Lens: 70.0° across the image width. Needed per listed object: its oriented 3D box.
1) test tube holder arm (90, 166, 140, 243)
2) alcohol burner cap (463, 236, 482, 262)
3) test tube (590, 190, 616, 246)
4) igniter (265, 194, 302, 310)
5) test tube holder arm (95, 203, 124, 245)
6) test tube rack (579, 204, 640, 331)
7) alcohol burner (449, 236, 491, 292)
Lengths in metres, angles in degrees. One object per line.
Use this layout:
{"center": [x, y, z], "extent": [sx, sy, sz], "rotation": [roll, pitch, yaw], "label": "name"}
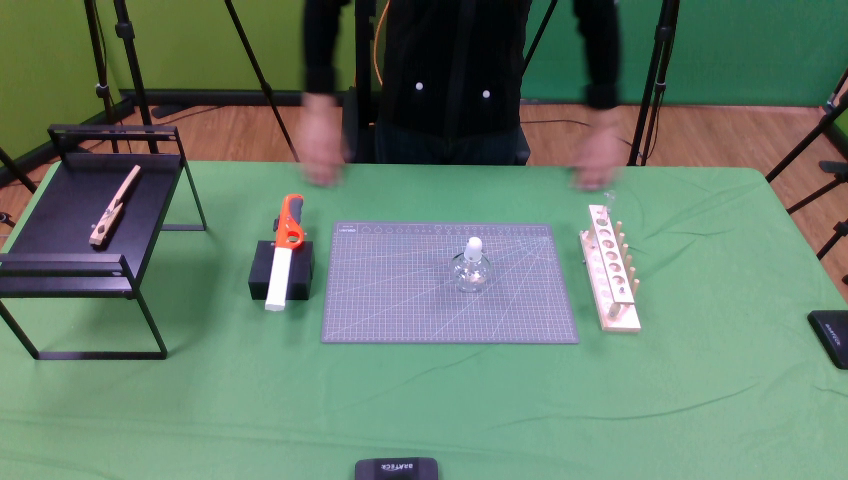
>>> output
{"center": [-0.492, -0.061, 0.970], "extent": [0.013, 0.015, 0.177], "rotation": [28, 39, -24], "label": "test tube holder arm"}
{"center": [0.088, 0.014, 1.074], "extent": [0.034, 0.048, 0.033], "rotation": [1, 52, -1], "label": "alcohol burner cap"}
{"center": [0.338, -0.038, 1.149], "extent": [0.017, 0.151, 0.017], "rotation": [0, 51, 0], "label": "test tube"}
{"center": [-0.253, 0.011, 1.099], "extent": [0.057, 0.025, 0.274], "rotation": [9, 46, -12], "label": "igniter"}
{"center": [-0.488, -0.027, 0.940], "extent": [0.010, 0.015, 0.087], "rotation": [29, 38, -23], "label": "test tube holder arm"}
{"center": [0.353, 0.047, 1.137], "extent": [0.067, 0.085, 0.241], "rotation": [2, 46, -2], "label": "test tube rack"}
{"center": [0.086, 0.038, 1.101], "extent": [0.078, 0.119, 0.077], "rotation": [3, 44, -2], "label": "alcohol burner"}
